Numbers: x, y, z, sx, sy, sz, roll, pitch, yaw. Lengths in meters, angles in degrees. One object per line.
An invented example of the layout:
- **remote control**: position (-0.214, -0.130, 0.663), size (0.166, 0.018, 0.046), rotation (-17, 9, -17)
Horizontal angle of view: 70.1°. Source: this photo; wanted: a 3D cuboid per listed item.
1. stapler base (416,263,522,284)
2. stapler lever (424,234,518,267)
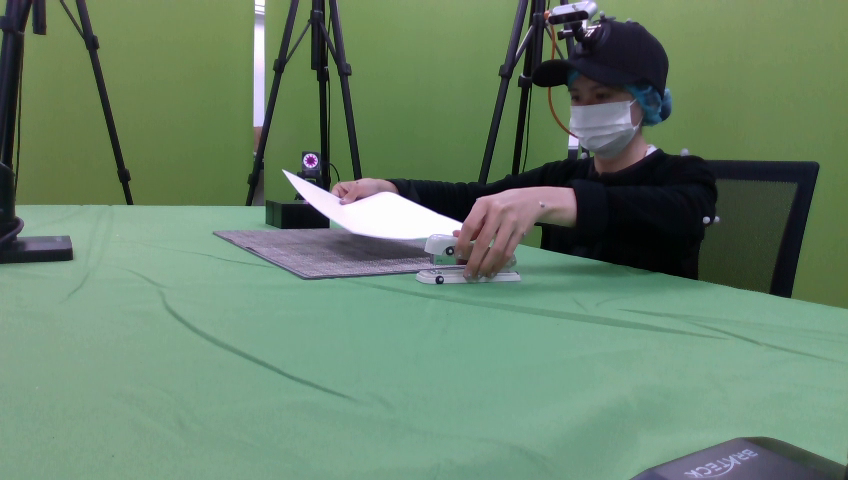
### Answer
- **stapler base**: position (0.055, 0.038, 0.733), size (0.131, 0.024, 0.041), rotation (1, 8, -23)
- **stapler lever**: position (0.057, 0.014, 0.731), size (0.118, 0.040, 0.026), rotation (0, 8, -22)
